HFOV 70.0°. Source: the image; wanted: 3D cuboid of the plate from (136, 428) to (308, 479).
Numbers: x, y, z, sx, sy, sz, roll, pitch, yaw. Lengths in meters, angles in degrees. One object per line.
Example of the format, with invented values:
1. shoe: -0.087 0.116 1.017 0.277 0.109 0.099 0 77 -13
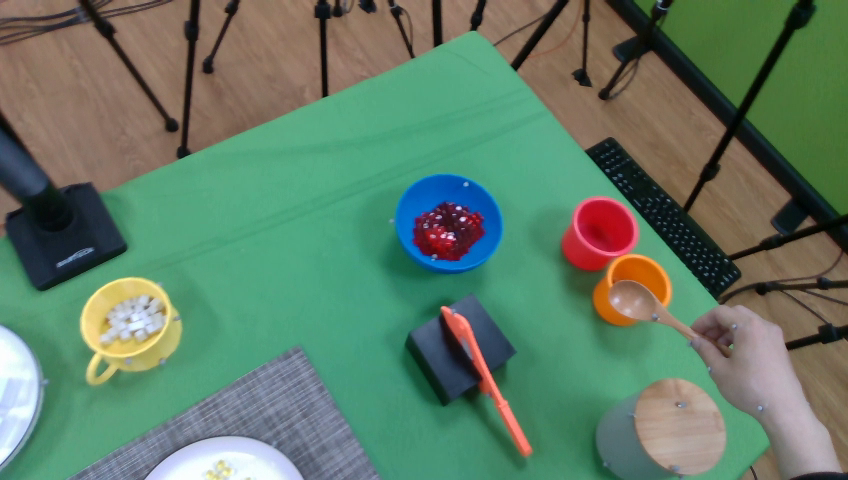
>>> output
1. plate: -0.226 0.317 0.669 0.209 0.038 0.207 4 64 -8

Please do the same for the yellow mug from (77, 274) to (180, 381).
1. yellow mug: -0.364 0.111 0.733 0.100 0.064 0.130 25 63 3

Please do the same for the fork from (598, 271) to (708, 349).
1. fork: 0.302 0.090 0.813 0.028 0.019 0.205 -13 24 -17

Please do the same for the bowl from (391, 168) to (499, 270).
1. bowl: 0.023 -0.017 0.856 0.152 0.077 0.150 4 64 -8

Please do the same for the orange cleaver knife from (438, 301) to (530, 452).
1. orange cleaver knife: 0.074 0.172 0.771 0.012 0.077 0.211 -29 96 -17

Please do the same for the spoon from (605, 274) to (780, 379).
1. spoon: 0.285 0.095 0.656 0.192 0.022 0.041 33 98 31

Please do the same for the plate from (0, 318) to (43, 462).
1. plate: -0.542 0.183 0.683 0.208 0.039 0.206 4 64 -8

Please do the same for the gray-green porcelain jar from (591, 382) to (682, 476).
1. gray-green porcelain jar: 0.275 0.235 0.752 0.106 0.127 0.105 4 63 -8

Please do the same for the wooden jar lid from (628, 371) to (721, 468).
1. wooden jar lid: 0.285 0.206 0.695 0.108 0.021 0.107 3 64 -6
